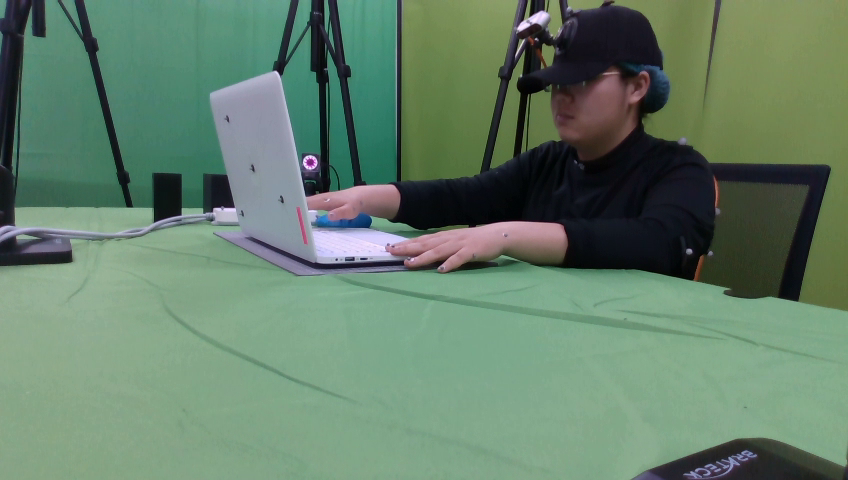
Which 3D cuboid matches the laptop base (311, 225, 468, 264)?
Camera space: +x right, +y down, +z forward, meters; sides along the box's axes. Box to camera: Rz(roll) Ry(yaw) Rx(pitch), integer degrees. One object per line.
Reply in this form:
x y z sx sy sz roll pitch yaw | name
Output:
-0.122 0.006 0.950 0.237 0.023 0.352 2 6 -32 | laptop base

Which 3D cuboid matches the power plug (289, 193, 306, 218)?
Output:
-0.281 -0.076 1.340 0.035 0.052 0.072 3 6 -17 | power plug

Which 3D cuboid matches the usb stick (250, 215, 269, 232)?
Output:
-0.290 -0.028 1.070 0.021 0.027 0.059 0 11 -31 | usb stick

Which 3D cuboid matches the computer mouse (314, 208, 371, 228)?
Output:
-0.173 -0.046 1.284 0.118 0.041 0.062 -7 13 -29 | computer mouse

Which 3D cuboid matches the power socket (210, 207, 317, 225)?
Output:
-0.335 -0.051 1.280 0.228 0.032 0.072 -1 8 -28 | power socket

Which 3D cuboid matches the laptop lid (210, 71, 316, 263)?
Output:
-0.241 -0.104 0.861 0.013 0.241 0.355 -16 17 -29 | laptop lid
